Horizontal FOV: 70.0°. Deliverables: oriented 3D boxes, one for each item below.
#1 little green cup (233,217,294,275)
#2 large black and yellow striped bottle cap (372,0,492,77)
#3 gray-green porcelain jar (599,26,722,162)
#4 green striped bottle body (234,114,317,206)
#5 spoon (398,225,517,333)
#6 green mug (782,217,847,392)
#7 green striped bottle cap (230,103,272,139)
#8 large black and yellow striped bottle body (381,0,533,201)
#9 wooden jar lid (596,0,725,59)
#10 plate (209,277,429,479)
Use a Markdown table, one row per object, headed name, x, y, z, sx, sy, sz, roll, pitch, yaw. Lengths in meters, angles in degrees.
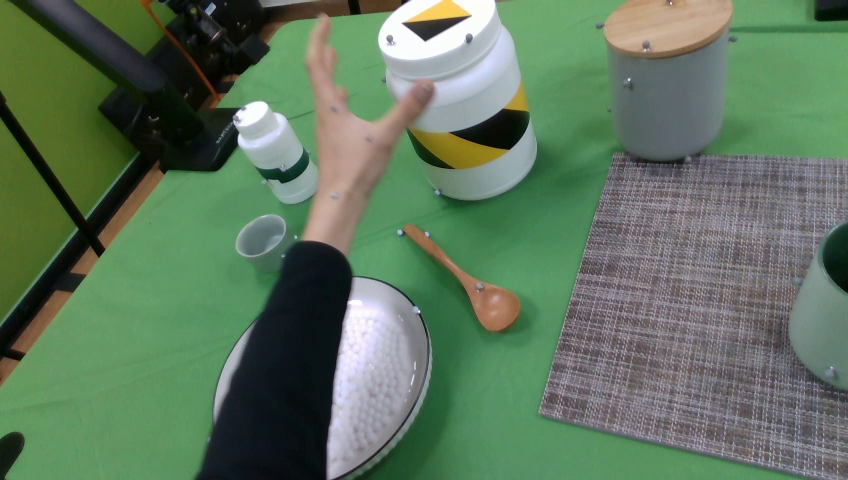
| name | x | y | z | sx | sy | sz | roll | pitch | yaw |
| --- | --- | --- | --- | --- | --- | --- | --- | --- | --- |
| little green cup | -0.180 | 0.008 | 0.688 | 0.061 | 0.039 | 0.061 | -11 | 48 | 13 |
| large black and yellow striped bottle cap | 0.007 | -0.195 | 0.567 | 0.115 | 0.019 | 0.114 | -11 | 48 | 12 |
| gray-green porcelain jar | 0.229 | -0.149 | 0.589 | 0.106 | 0.128 | 0.105 | -11 | 45 | 11 |
| green striped bottle body | -0.181 | -0.102 | 0.725 | 0.063 | 0.120 | 0.062 | -11 | 48 | 13 |
| spoon | 0.026 | 0.029 | 0.596 | 0.041 | 0.022 | 0.191 | -50 | 49 | 3 |
| green mug | 0.312 | 0.048 | 0.399 | 0.124 | 0.106 | 0.092 | 15 | 59 | 32 |
| green striped bottle cap | -0.197 | -0.135 | 0.688 | 0.044 | 0.020 | 0.044 | -10 | 51 | 12 |
| large black and yellow striped bottle body | 0.034 | -0.144 | 0.628 | 0.130 | 0.186 | 0.129 | -11 | 49 | 14 |
| wooden jar lid | 0.212 | -0.191 | 0.545 | 0.108 | 0.021 | 0.107 | -14 | 45 | 14 |
| plate | -0.092 | 0.127 | 0.550 | 0.209 | 0.038 | 0.207 | -11 | 48 | 13 |
